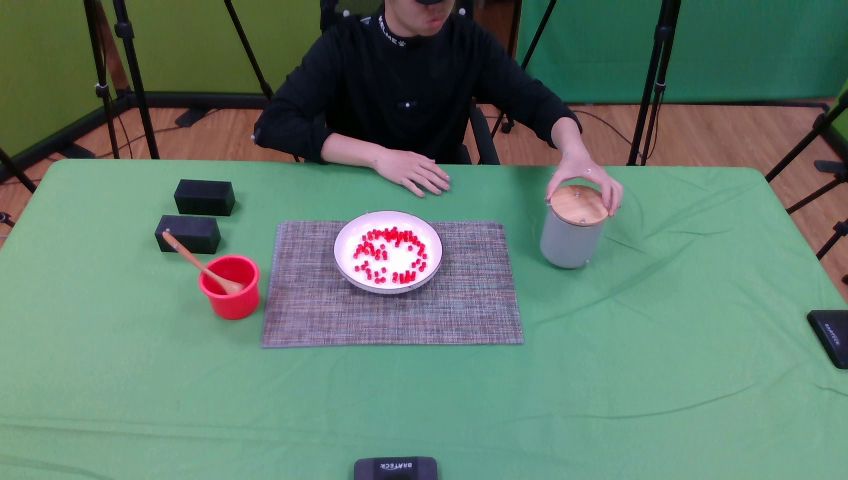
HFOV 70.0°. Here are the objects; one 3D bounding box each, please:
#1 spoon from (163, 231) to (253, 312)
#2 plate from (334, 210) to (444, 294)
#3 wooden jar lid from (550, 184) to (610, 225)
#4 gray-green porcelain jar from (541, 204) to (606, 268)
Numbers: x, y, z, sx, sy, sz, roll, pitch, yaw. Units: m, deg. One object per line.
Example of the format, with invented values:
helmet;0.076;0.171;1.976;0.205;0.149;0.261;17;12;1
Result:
spoon;-0.364;0.054;1.024;0.194;0.021;0.041;43;49;-17
plate;-0.066;0.026;1.150;0.208;0.039;0.206;2;46;-2
wooden jar lid;0.286;-0.061;1.114;0.108;0.021;0.107;0;46;0
gray-green porcelain jar;0.283;-0.017;1.161;0.106;0.127;0.105;2;46;-2
